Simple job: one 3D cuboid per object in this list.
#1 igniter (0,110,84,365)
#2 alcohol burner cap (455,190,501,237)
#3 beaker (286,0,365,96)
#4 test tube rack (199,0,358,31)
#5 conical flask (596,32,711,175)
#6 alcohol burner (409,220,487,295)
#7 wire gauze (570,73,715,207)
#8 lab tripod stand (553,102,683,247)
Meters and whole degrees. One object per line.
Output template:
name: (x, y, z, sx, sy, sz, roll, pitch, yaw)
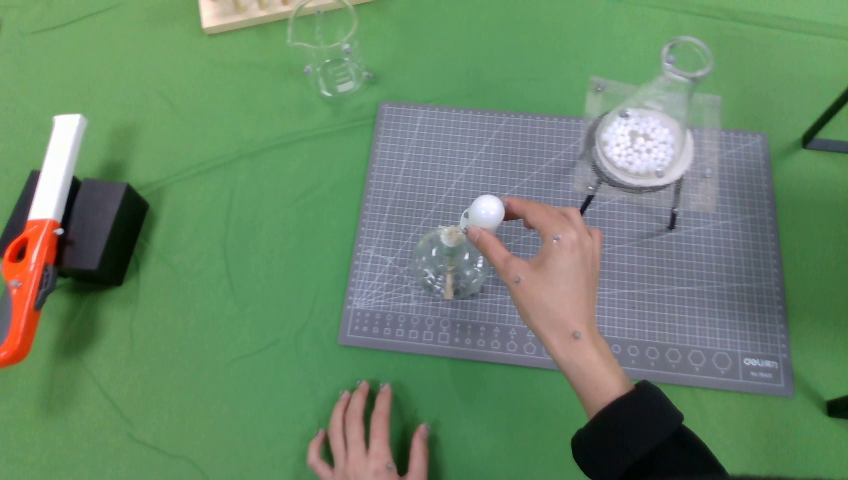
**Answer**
igniter: (-0.388, -0.011, 0.607, 0.057, 0.025, 0.274, -3, 67, 6)
alcohol burner cap: (0.046, -0.024, 0.494, 0.034, 0.048, 0.033, 3, 73, -9)
beaker: (-0.110, -0.220, 0.695, 0.084, 0.101, 0.073, -34, 70, -11)
test tube rack: (-0.169, -0.338, 0.751, 0.242, 0.086, 0.066, -13, 68, -4)
conical flask: (0.188, -0.111, 0.487, 0.075, 0.123, 0.075, 0, 68, 1)
alcohol burner: (0.024, 0.011, 0.588, 0.078, 0.120, 0.077, 0, 67, 0)
wire gauze: (0.199, -0.091, 0.542, 0.121, 0.011, 0.124, 12, 67, 4)
lab tripod stand: (0.193, -0.063, 0.603, 0.148, 0.132, 0.147, 0, 67, 0)
